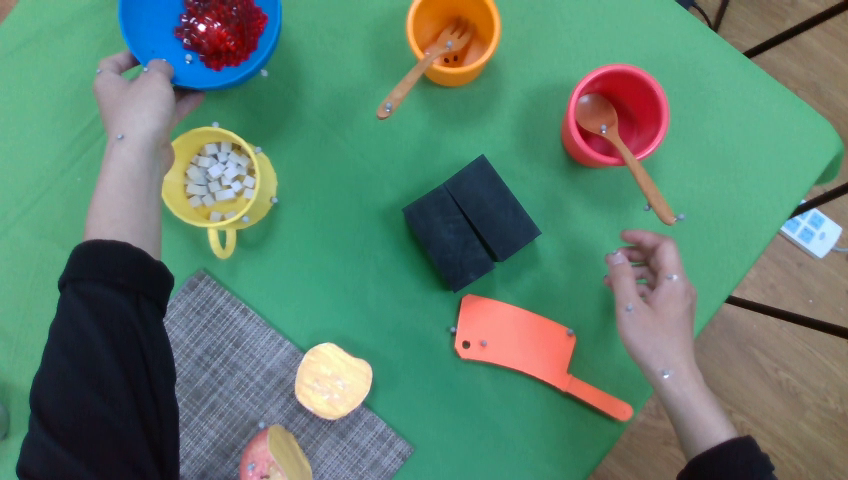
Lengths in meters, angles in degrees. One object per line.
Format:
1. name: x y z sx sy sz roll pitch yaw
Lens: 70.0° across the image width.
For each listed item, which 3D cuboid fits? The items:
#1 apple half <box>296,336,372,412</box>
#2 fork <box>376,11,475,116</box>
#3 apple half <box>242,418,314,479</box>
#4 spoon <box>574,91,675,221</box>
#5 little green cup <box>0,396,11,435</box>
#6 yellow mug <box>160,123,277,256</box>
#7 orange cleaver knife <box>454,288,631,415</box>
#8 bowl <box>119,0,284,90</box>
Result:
1. apple half: -0.097 0.145 0.634 0.081 0.033 0.080 7 57 -10
2. fork: 0.005 -0.174 0.583 0.028 0.019 0.206 33 46 0
3. apple half: -0.154 0.228 0.617 0.053 0.074 0.081 -32 93 4
4. spoon: 0.192 -0.087 0.584 0.041 0.191 0.022 -14 134 -1
5. little green cup: -0.475 0.190 0.640 0.061 0.038 0.061 0 90 1
6. yellow mug: -0.208 -0.049 0.625 0.100 0.064 0.131 -3 91 1
7. orange cleaver knife: 0.129 0.118 0.646 0.211 0.012 0.077 24 84 2
8. bowl: -0.208 -0.216 0.600 0.151 0.077 0.151 0 90 -3
